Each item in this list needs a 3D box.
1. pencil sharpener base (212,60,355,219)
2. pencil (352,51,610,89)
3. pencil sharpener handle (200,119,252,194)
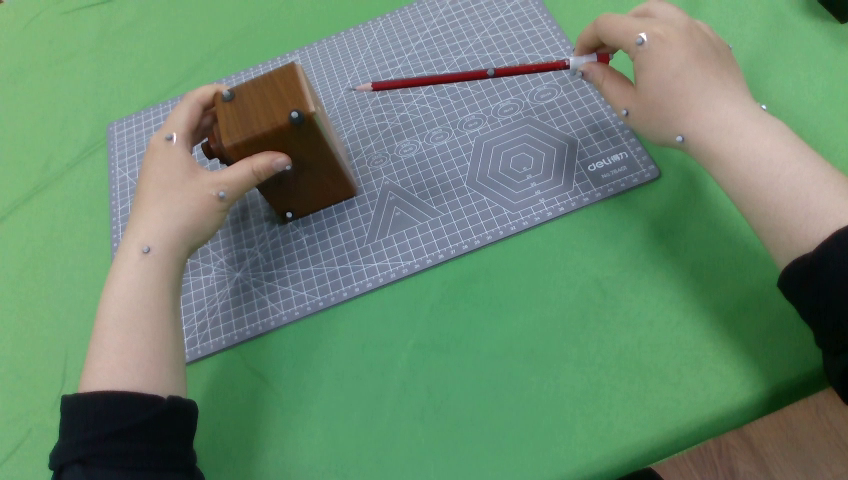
[{"bbox_3d":[-0.110,-0.075,0.483,0.077,0.108,0.060,-23,58,1],"label":"pencil sharpener base"},{"bbox_3d":[0.039,-0.126,0.454,0.194,0.012,0.012,-4,60,11],"label":"pencil"},{"bbox_3d":[-0.160,-0.061,0.473,0.030,0.068,0.035,-23,57,1],"label":"pencil sharpener handle"}]
